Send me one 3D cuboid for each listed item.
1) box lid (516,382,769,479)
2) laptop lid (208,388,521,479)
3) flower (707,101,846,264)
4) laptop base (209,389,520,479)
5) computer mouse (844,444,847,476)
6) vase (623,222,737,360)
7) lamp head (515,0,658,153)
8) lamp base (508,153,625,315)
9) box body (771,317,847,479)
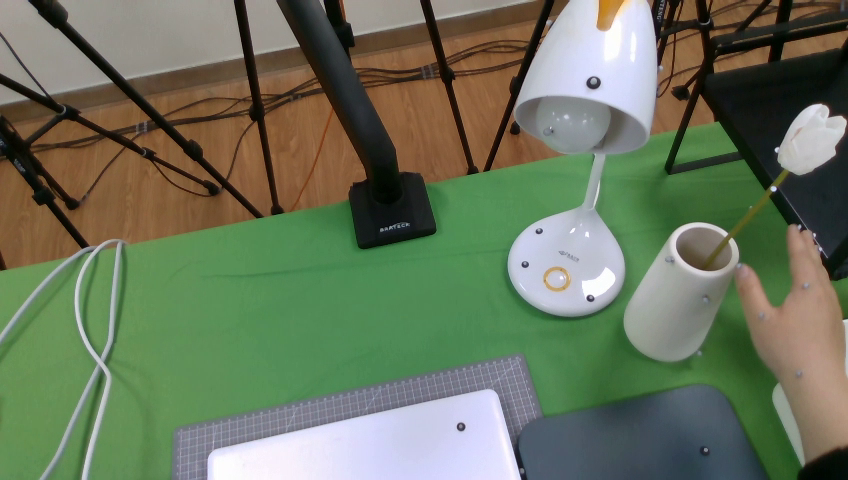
[{"bbox_3d":[0.266,0.339,0.635,0.263,0.015,0.367,-11,56,-4],"label":"box lid"},{"bbox_3d":[-0.062,0.308,0.666,0.357,0.013,0.239,-10,58,-2],"label":"laptop lid"},{"bbox_3d":[0.309,0.012,0.640,0.038,0.364,0.043,5,46,-11],"label":"flower"},{"bbox_3d":[-0.062,0.312,0.676,0.354,0.023,0.233,-11,59,-3],"label":"laptop base"},{"bbox_3d":[0.511,0.222,0.672,0.062,0.041,0.116,20,57,20],"label":"computer mouse"},{"bbox_3d":[0.295,0.062,0.707,0.098,0.202,0.097,-3,54,5],"label":"vase"},{"bbox_3d":[0.144,-0.145,0.509,0.112,0.113,0.122,14,76,14],"label":"lamp head"},{"bbox_3d":[0.196,-0.021,0.783,0.160,0.182,0.178,17,56,16],"label":"lamp base"},{"bbox_3d":[0.545,0.254,0.579,0.254,0.162,0.360,-9,56,-1],"label":"box body"}]
